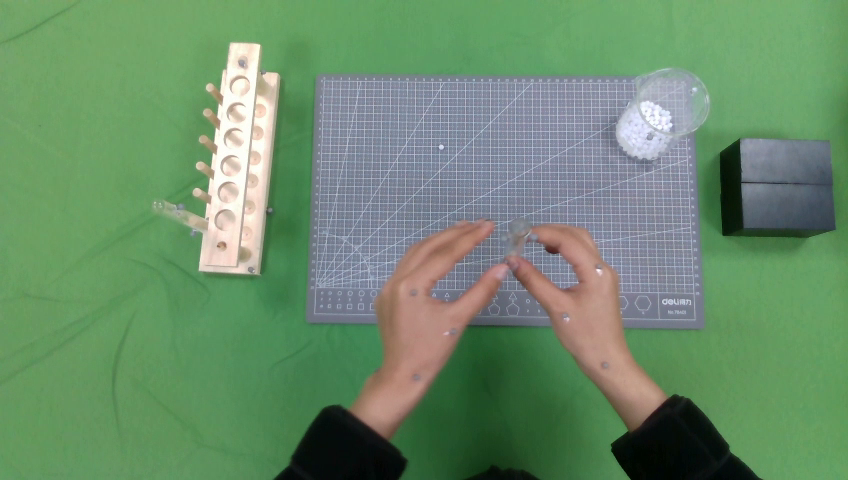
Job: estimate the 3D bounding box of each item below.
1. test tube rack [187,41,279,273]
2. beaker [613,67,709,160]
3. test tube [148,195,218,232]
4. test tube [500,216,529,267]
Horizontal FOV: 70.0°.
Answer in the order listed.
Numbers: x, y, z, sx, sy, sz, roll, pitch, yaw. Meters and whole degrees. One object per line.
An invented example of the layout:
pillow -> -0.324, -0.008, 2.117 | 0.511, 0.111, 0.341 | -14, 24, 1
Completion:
test tube rack -> -0.217, -0.090, 0.675 | 0.067, 0.085, 0.241 | 4, 81, 1
beaker -> 0.253, -0.136, 0.669 | 0.084, 0.100, 0.074 | 38, 83, 8
test tube -> -0.243, -0.024, 0.620 | 0.017, 0.151, 0.017 | 0, 82, 1
test tube -> 0.076, 0.004, 0.518 | 0.017, 0.151, 0.017 | -1, 78, 5
